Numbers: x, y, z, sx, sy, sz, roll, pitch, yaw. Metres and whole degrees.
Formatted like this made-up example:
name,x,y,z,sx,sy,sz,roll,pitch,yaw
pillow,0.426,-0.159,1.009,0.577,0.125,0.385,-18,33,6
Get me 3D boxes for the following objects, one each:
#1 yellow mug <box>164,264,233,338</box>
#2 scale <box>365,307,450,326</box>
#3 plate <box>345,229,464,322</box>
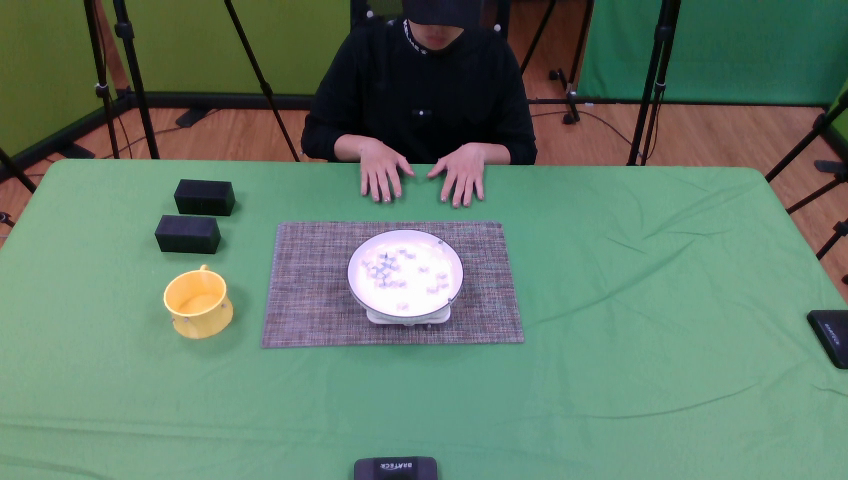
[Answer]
name,x,y,z,sx,sy,sz,roll,pitch,yaw
yellow mug,-0.384,0.097,1.043,0.100,0.064,0.130,-1,45,-5
scale,-0.032,0.071,1.113,0.149,0.032,0.199,0,46,-4
plate,-0.034,0.065,1.073,0.209,0.038,0.208,2,46,-2
